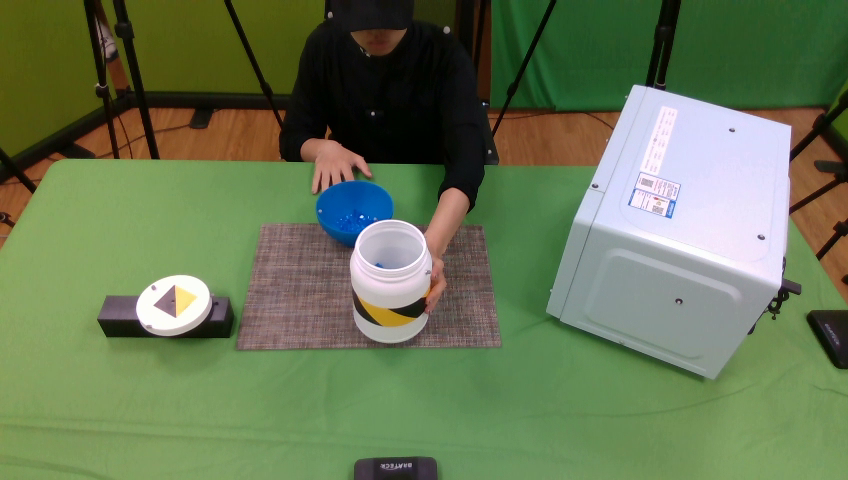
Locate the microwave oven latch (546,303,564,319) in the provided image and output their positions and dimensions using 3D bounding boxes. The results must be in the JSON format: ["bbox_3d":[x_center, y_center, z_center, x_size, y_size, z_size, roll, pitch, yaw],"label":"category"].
[{"bbox_3d":[0.242,0.102,1.081,0.030,0.029,0.079,21,48,17],"label":"microwave oven latch"}]

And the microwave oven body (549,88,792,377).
[{"bbox_3d":[0.456,-0.028,1.088,0.325,0.261,0.440,20,47,16],"label":"microwave oven body"}]

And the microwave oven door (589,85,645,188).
[{"bbox_3d":[0.341,-0.107,1.149,0.039,0.245,0.354,20,48,15],"label":"microwave oven door"}]

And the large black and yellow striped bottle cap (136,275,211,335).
[{"bbox_3d":[-0.412,0.105,0.999,0.115,0.019,0.114,3,46,-3],"label":"large black and yellow striped bottle cap"}]

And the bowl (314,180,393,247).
[{"bbox_3d":[-0.135,-0.039,1.181,0.151,0.077,0.150,2,46,-2],"label":"bowl"}]

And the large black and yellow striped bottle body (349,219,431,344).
[{"bbox_3d":[-0.055,0.067,0.984,0.131,0.185,0.130,2,47,-2],"label":"large black and yellow striped bottle body"}]
